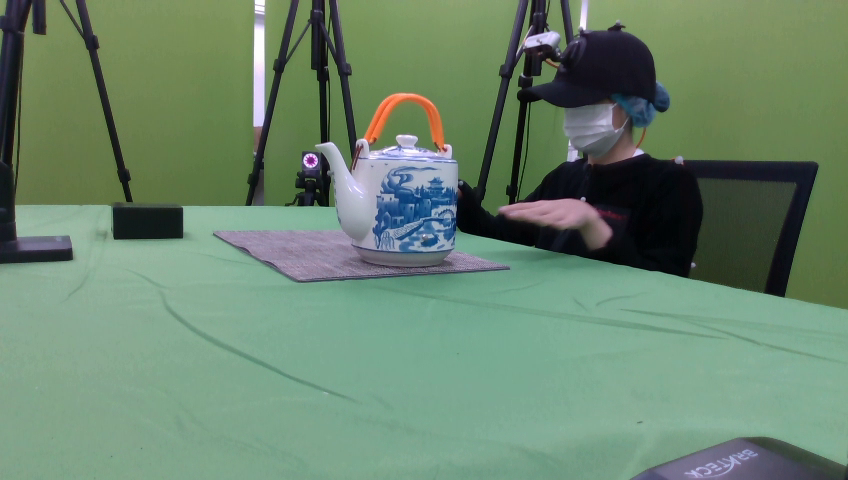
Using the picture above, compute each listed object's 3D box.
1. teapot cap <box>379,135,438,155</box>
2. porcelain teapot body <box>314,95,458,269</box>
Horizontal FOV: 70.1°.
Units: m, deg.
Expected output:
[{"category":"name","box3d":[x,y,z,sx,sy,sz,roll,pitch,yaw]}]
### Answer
[{"category":"teapot cap","box3d":[-0.023,-0.119,0.812,0.085,0.044,0.085,2,9,0]},{"category":"porcelain teapot body","box3d":[-0.049,-0.079,0.800,0.206,0.225,0.144,-3,9,-37]}]
